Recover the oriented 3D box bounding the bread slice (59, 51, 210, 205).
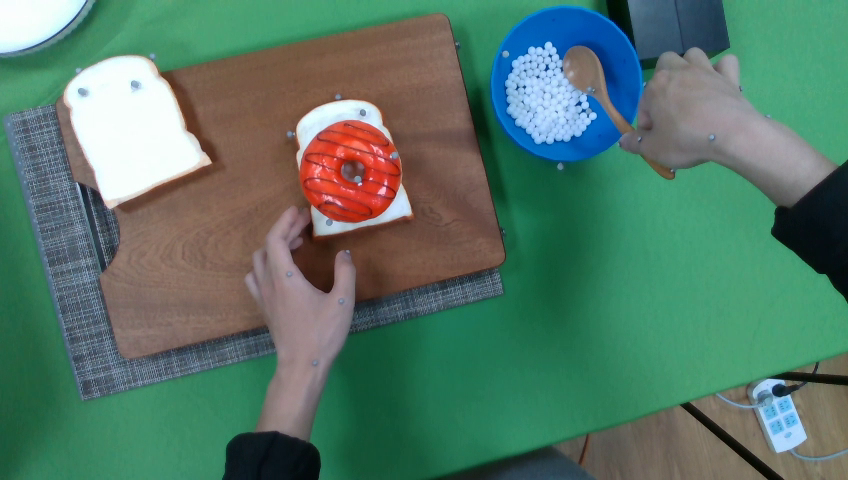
[{"bbox_3d":[-0.287,-0.112,0.587,0.107,0.018,0.134,-29,92,-4],"label":"bread slice"}]

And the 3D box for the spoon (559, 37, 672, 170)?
[{"bbox_3d":[0.174,-0.128,0.565,0.022,0.042,0.191,0,47,-22],"label":"spoon"}]

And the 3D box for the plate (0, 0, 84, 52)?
[{"bbox_3d":[-0.425,-0.285,0.592,0.208,0.039,0.207,0,91,-5],"label":"plate"}]

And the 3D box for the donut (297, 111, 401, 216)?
[{"bbox_3d":[-0.071,-0.072,0.577,0.099,0.048,0.099,0,92,-5],"label":"donut"}]

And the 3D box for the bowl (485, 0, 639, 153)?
[{"bbox_3d":[0.132,-0.159,0.621,0.151,0.076,0.151,0,91,-4],"label":"bowl"}]

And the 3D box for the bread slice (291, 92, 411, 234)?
[{"bbox_3d":[-0.079,-0.080,0.606,0.105,0.019,0.131,-15,94,-5],"label":"bread slice"}]
